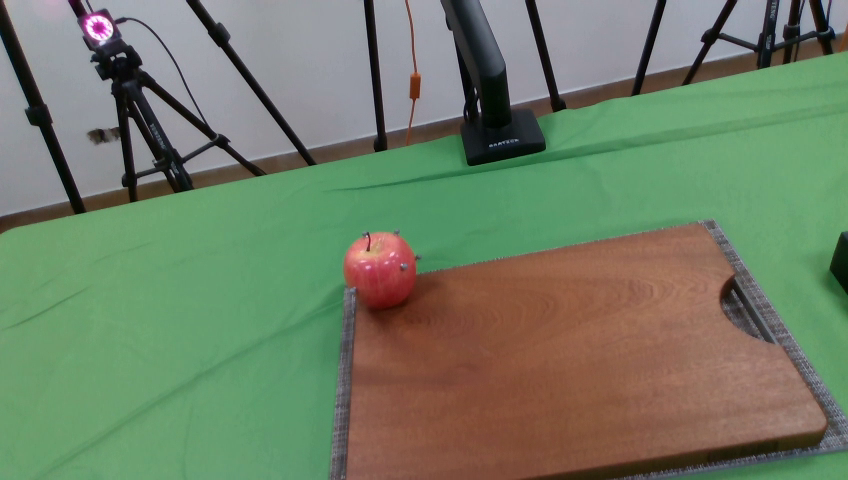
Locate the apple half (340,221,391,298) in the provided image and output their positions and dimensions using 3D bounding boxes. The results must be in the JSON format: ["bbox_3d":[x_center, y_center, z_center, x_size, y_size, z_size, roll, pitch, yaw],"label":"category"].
[{"bbox_3d":[-0.064,0.023,0.671,0.053,0.075,0.080,-7,43,15],"label":"apple half"}]

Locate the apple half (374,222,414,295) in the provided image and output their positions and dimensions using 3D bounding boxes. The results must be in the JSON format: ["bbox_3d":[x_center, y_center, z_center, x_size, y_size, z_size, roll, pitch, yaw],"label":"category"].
[{"bbox_3d":[-0.027,0.019,0.663,0.032,0.082,0.080,-8,41,14],"label":"apple half"}]
